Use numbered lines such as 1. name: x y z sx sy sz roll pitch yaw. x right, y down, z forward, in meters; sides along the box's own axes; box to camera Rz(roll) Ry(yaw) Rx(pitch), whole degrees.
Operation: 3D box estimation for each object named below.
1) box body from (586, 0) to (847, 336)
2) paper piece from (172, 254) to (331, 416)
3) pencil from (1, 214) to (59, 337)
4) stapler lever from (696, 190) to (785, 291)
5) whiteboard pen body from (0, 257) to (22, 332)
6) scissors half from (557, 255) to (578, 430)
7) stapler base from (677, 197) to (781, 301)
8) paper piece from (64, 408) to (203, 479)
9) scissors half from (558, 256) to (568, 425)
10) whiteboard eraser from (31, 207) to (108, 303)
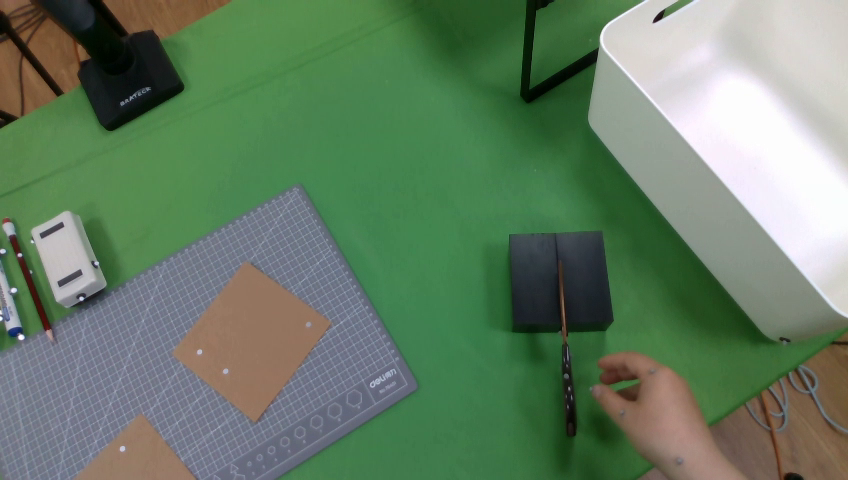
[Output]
1. box body: 0.372 -0.110 0.635 0.254 0.161 0.361 -32 71 -5
2. paper piece: -0.200 0.107 0.698 0.137 0.009 0.136 34 81 14
3. pencil: -0.487 0.042 0.750 0.012 0.012 0.192 -34 71 -6
4. stapler lever: 0.335 -0.002 0.642 0.027 0.040 0.117 -35 75 -4
5. whiteboard pen body: -0.522 0.053 0.747 0.017 0.017 0.139 -30 70 -5
6. scissors half: 0.142 0.100 0.609 0.013 0.040 0.174 -4 73 7
7. stapler base: 0.336 0.004 0.667 0.041 0.024 0.129 -35 74 -4
8. paper piece: -0.317 0.276 0.650 0.135 0.004 0.135 41 78 16
9. scissors half: 0.144 0.104 0.629 0.013 0.040 0.175 -3 89 2
10. whiteboard eraser: -0.430 0.018 0.737 0.055 0.042 0.112 -32 71 -5
